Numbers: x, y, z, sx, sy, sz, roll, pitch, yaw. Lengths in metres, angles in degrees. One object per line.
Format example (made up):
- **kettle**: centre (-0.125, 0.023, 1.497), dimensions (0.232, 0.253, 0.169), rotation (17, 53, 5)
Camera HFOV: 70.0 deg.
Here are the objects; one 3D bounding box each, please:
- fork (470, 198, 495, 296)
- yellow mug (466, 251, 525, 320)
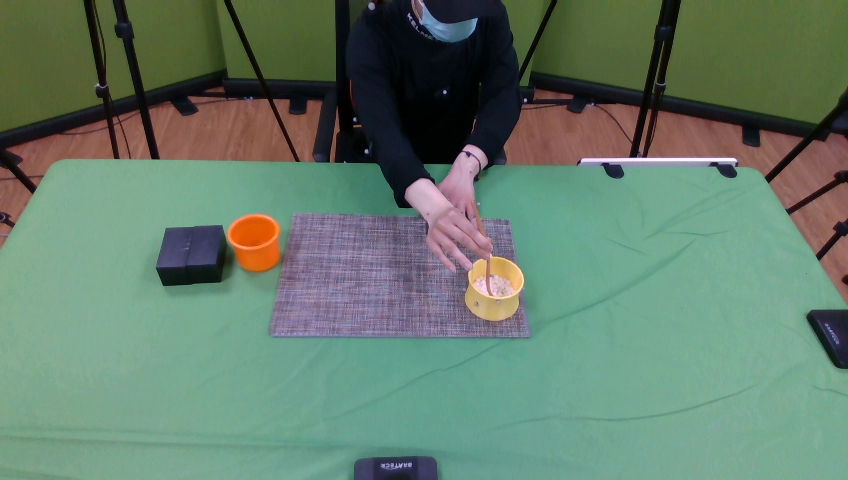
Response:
- **fork**: centre (0.105, 0.024, 1.036), dimensions (0.018, 0.208, 0.028), rotation (-10, 23, 5)
- **yellow mug**: centre (0.125, 0.074, 1.096), dimensions (0.100, 0.064, 0.130), rotation (-4, 46, -7)
